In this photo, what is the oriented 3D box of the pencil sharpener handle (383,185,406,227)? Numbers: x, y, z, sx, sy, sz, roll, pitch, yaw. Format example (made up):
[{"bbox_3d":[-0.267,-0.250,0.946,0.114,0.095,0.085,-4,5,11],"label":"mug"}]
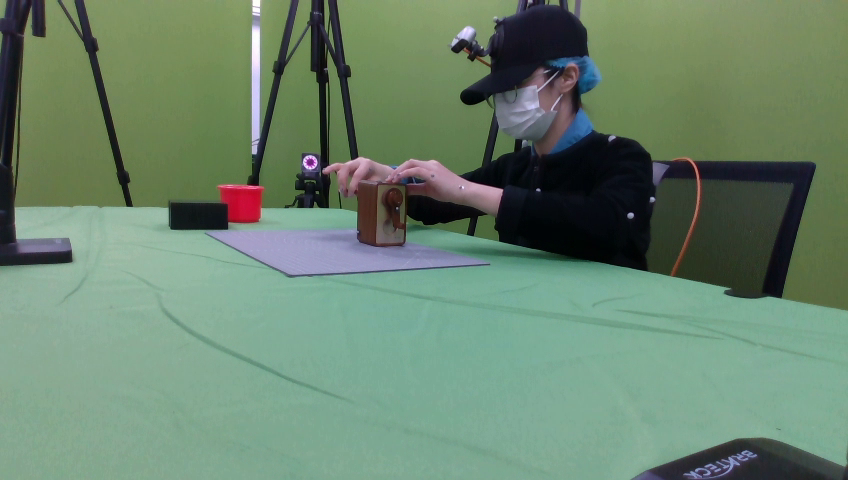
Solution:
[{"bbox_3d":[-0.042,-0.055,0.975,0.036,0.068,0.030,-10,13,-31],"label":"pencil sharpener handle"}]

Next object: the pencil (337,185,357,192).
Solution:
[{"bbox_3d":[-0.117,-0.090,1.095,0.012,0.012,0.193,-2,8,-30],"label":"pencil"}]

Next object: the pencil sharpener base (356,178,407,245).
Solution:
[{"bbox_3d":[-0.071,-0.049,1.018,0.062,0.107,0.076,-2,9,-32],"label":"pencil sharpener base"}]
